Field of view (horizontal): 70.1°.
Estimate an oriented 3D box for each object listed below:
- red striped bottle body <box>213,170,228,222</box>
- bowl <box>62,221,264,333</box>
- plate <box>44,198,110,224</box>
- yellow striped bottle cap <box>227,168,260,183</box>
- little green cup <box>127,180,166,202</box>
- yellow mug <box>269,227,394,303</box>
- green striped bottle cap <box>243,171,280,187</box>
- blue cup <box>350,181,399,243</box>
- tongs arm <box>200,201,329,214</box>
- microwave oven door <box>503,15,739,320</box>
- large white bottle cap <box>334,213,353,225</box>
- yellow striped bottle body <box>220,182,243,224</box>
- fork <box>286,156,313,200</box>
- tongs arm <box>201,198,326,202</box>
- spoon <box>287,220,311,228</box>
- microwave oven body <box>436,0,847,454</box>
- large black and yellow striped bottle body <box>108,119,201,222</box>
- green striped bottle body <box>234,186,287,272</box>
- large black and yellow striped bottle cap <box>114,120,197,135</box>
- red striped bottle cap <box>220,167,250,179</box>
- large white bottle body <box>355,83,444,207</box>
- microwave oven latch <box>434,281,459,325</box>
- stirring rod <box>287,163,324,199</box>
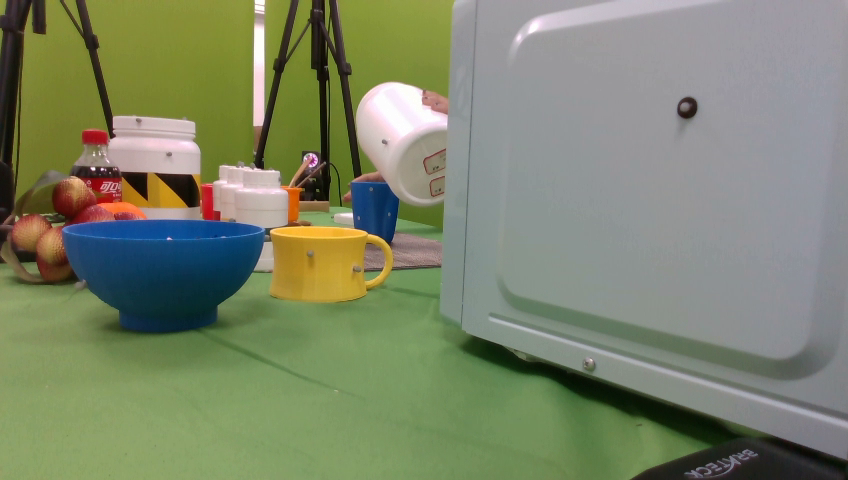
[{"bbox_3d":[-0.284,-0.047,0.909,0.063,0.119,0.063,3,13,0],"label":"red striped bottle body"},{"bbox_3d":[-0.209,0.029,0.496,0.151,0.077,0.151,2,7,0],"label":"bowl"},{"bbox_3d":[-0.617,-0.056,1.179,0.209,0.038,0.209,3,7,0],"label":"plate"},{"bbox_3d":[-0.243,-0.087,0.818,0.044,0.018,0.044,4,6,0],"label":"yellow striped bottle cap"},{"bbox_3d":[-0.486,-0.086,1.061,0.061,0.038,0.061,1,7,0],"label":"little green cup"},{"bbox_3d":[-0.094,0.023,0.629,0.131,0.064,0.099,0,7,-22],"label":"yellow mug"},{"bbox_3d":[-0.198,-0.074,0.736,0.044,0.020,0.044,1,7,0],"label":"green striped bottle cap"},{"bbox_3d":[-0.082,-0.047,1.012,0.093,0.100,0.092,1,7,0],"label":"blue cup"},{"bbox_3d":[-0.378,-0.079,1.440,0.387,0.026,0.050,-4,8,-44],"label":"tongs arm"},{"bbox_3d":[0.218,-0.065,0.600,0.358,0.243,0.039,-4,10,-41],"label":"microwave oven door"},{"bbox_3d":[-0.145,-0.048,1.355,0.115,0.018,0.115,2,7,0],"label":"large white bottle cap"},{"bbox_3d":[-0.245,-0.036,0.825,0.063,0.120,0.063,4,8,0],"label":"yellow striped bottle body"},{"bbox_3d":[-0.288,-0.117,1.319,0.028,0.019,0.207,-8,45,32],"label":"fork"},{"bbox_3d":[-0.433,-0.090,1.507,0.390,0.028,0.028,-1,3,-29],"label":"tongs arm"},{"bbox_3d":[-0.232,-0.027,1.116,0.041,0.021,0.193,-22,6,4],"label":"spoon"},{"bbox_3d":[0.279,-0.040,0.465,0.444,0.260,0.324,-3,9,-41],"label":"microwave oven body"},{"bbox_3d":[-0.412,-0.088,0.930,0.131,0.184,0.130,3,7,0],"label":"large black and yellow striped bottle body"},{"bbox_3d":[-0.200,-0.023,0.743,0.063,0.119,0.063,2,7,0],"label":"green striped bottle body"},{"bbox_3d":[-0.407,-0.171,0.920,0.115,0.019,0.115,2,9,0],"label":"large black and yellow striped bottle cap"},{"bbox_3d":[-0.281,-0.100,0.901,0.044,0.017,0.044,0,5,0],"label":"red striped bottle cap"},{"bbox_3d":[-0.022,-0.147,0.884,0.131,0.130,0.183,-1,34,-27],"label":"large white bottle body"},{"bbox_3d":[0.044,0.045,0.470,0.079,0.029,0.030,-2,8,-39],"label":"microwave oven latch"},{"bbox_3d":[-0.278,-0.105,1.293,0.176,0.006,0.014,-46,25,-18],"label":"stirring rod"}]
